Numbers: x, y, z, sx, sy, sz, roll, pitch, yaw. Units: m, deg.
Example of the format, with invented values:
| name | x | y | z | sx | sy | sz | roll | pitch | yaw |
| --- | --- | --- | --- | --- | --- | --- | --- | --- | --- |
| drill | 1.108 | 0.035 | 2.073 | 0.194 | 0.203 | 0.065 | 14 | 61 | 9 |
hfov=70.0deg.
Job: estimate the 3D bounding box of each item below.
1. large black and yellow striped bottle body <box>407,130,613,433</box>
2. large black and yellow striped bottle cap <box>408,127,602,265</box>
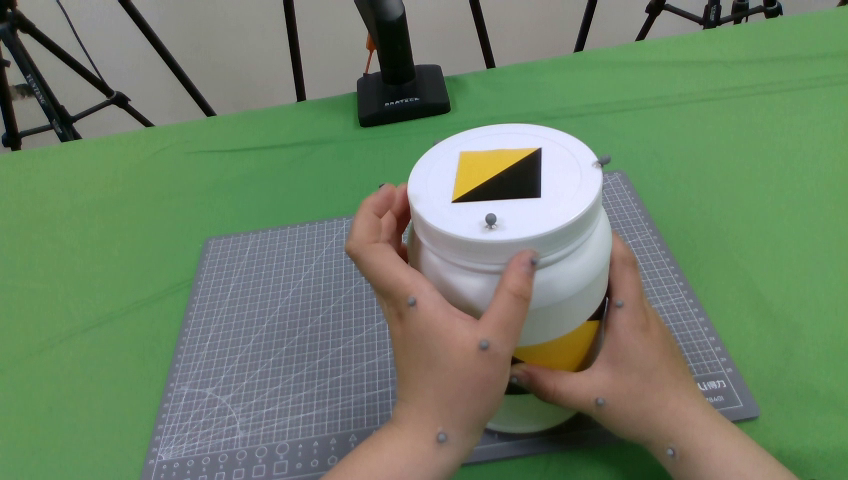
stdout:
| name | x | y | z | sx | sy | sz | roll | pitch | yaw |
| --- | --- | --- | --- | --- | --- | --- | --- | --- | --- |
| large black and yellow striped bottle body | 0.060 | 0.031 | 0.417 | 0.130 | 0.186 | 0.129 | -6 | 42 | 6 |
| large black and yellow striped bottle cap | 0.047 | -0.031 | 0.360 | 0.115 | 0.019 | 0.114 | -6 | 41 | 6 |
